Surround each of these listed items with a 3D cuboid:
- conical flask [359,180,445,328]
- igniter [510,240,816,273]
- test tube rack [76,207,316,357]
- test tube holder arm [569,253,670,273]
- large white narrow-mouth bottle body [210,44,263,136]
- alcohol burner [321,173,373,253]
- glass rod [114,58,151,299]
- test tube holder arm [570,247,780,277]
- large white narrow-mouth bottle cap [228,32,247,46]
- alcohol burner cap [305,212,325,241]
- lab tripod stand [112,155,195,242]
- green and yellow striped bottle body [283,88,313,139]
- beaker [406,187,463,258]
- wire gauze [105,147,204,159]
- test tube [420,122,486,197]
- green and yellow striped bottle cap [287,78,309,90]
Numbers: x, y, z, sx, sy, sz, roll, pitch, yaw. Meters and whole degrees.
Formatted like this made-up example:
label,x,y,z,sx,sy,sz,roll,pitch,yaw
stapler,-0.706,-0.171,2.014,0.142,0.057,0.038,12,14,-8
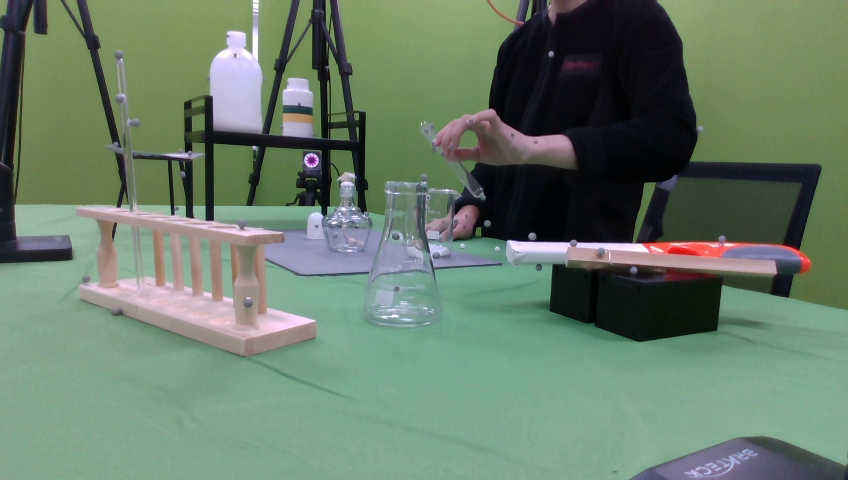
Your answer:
label,x,y,z,sx,sy,sz,roll,pitch,yaw
conical flask,-0.017,0.010,0.522,0.075,0.122,0.075,2,7,0
igniter,0.220,0.015,0.565,0.277,0.025,0.057,2,16,0
test tube rack,-0.196,0.023,0.500,0.241,0.085,0.067,8,9,36
test tube holder arm,0.172,0.019,0.532,0.088,0.015,0.010,3,-24,3
large white narrow-mouth bottle body,-0.369,-0.305,1.194,0.102,0.194,0.102,3,8,0
alcohol burner,-0.115,-0.041,0.905,0.078,0.119,0.078,1,6,0
glass rod,-0.236,-0.044,0.492,0.008,0.199,0.008,0,15,0
test tube holder arm,0.217,0.019,0.525,0.178,0.015,0.013,3,-23,3
large white narrow-mouth bottle cap,-0.364,-0.391,1.180,0.038,0.024,0.037,3,8,0
alcohol burner cap,-0.185,-0.023,1.027,0.034,0.048,0.034,2,7,0
lab tripod stand,-0.405,-0.064,0.931,0.148,0.131,0.148,1,6,0
green and yellow striped bottle body,-0.265,-0.275,1.275,0.063,0.119,0.063,2,7,0
beaker,0.013,-0.026,0.892,0.084,0.100,0.074,2,8,-2
wire gauze,-0.407,-0.131,0.928,0.125,0.011,0.121,2,5,-11
test tube,0.037,-0.107,0.795,0.017,0.017,0.149,-4,45,-40
green and yellow striped bottle cap,-0.265,-0.326,1.268,0.045,0.020,0.045,4,6,0
